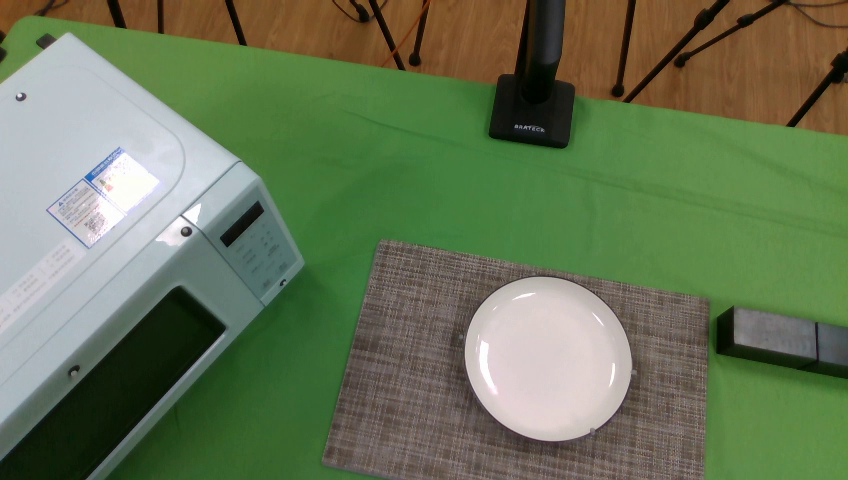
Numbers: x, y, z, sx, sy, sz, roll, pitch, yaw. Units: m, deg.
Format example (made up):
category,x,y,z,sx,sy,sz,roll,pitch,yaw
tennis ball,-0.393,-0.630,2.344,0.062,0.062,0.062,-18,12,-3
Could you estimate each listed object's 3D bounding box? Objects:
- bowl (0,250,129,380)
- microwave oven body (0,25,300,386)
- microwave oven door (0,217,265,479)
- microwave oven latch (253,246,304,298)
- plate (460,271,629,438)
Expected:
category,x,y,z,sx,sy,sz,roll,pitch,yaw
bowl,-0.407,0.096,0.701,0.151,0.077,0.150,-1,63,2
microwave oven body,-0.419,0.043,0.684,0.324,0.262,0.441,36,72,14
microwave oven door,-0.331,0.153,0.631,0.039,0.245,0.355,35,72,15
microwave oven latch,-0.192,0.036,0.790,0.030,0.030,0.079,38,73,14
plate,0.148,0.142,0.759,0.208,0.039,0.206,0,67,0
